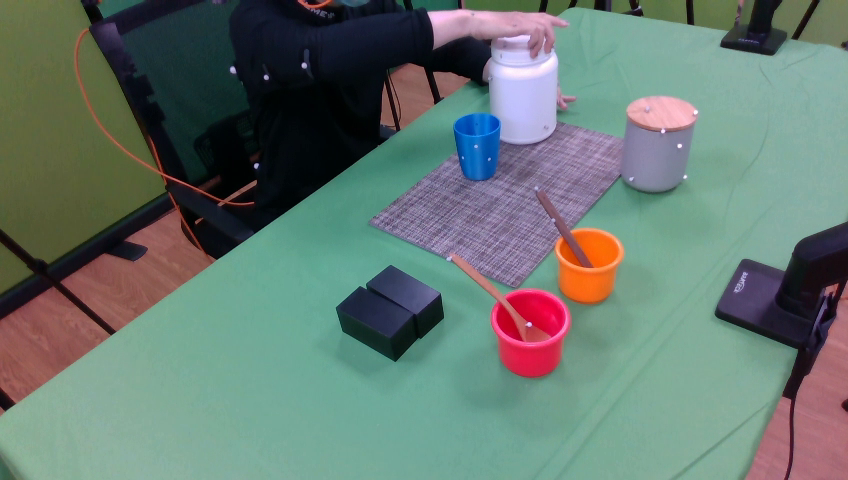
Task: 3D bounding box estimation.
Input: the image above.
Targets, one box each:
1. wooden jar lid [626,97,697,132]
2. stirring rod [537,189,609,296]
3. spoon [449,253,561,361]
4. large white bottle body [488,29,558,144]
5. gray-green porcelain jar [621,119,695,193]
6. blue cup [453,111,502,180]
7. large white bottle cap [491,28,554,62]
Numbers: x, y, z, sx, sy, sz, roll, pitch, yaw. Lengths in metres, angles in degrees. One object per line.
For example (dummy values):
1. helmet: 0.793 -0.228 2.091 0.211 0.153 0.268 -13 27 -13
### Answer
1. wooden jar lid: 0.381 -0.198 0.976 0.108 0.021 0.108 -2 40 3
2. stirring rod: 0.210 0.003 0.855 0.014 0.006 0.176 -32 89 -30
3. spoon: 0.103 0.083 0.770 0.194 0.021 0.042 47 52 -7
4. large white bottle body: 0.190 -0.293 1.158 0.130 0.185 0.130 -5 40 5
5. gray-green porcelain jar: 0.389 -0.152 1.016 0.106 0.127 0.105 -4 40 4
6. blue cup: 0.097 -0.166 1.088 0.092 0.100 0.092 -3 41 3
7. large white bottle cap: 0.180 -0.357 1.103 0.115 0.018 0.114 -4 40 4
